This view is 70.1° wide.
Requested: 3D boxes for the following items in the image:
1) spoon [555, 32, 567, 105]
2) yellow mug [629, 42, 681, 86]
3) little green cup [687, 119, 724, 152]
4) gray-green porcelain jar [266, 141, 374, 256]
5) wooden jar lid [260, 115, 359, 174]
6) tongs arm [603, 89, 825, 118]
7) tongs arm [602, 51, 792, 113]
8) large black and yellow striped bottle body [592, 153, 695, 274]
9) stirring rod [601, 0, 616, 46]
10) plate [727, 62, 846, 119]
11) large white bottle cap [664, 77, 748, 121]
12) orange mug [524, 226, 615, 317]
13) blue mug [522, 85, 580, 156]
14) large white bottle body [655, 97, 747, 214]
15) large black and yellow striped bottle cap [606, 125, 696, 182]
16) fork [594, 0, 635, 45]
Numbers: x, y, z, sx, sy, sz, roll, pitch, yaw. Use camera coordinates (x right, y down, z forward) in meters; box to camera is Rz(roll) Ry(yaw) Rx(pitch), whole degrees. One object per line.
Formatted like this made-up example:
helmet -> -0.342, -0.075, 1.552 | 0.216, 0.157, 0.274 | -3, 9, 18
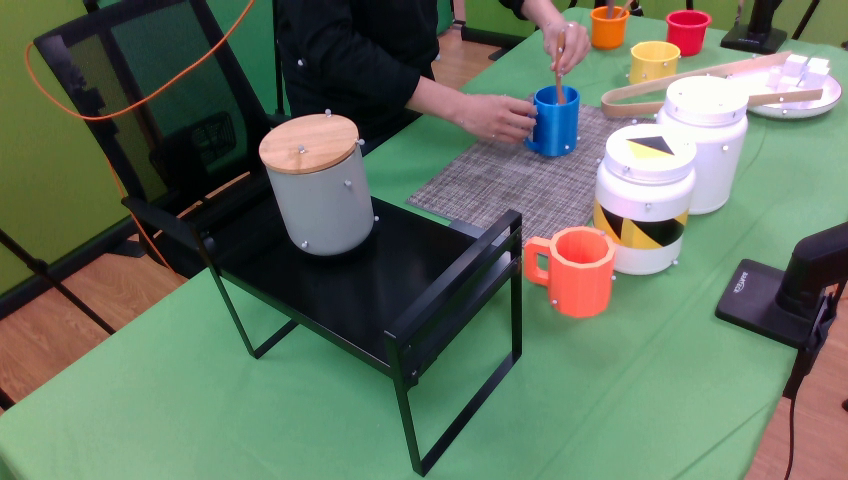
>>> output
spoon -> 0.246, -0.282, 1.091 | 0.042, 0.195, 0.021 | -40, 45, -26
yellow mug -> 0.495, -0.389, 1.321 | 0.100, 0.064, 0.130 | -14, 40, -6
little green cup -> 0.514, -0.191, 1.109 | 0.061, 0.039, 0.061 | -5, 40, 5
gray-green porcelain jar -> -0.117, -0.054, 0.703 | 0.106, 0.127, 0.105 | -4, 40, 4
wooden jar lid -> -0.124, -0.101, 0.662 | 0.108, 0.021, 0.108 | -4, 41, 4
tongs arm -> 0.546, -0.262, 1.163 | 0.386, 0.028, 0.028 | -1, 49, 18
tongs arm -> 0.552, -0.320, 1.224 | 0.384, 0.027, 0.050 | -10, 43, 7
large black and yellow striped bottle body -> 0.313, -0.056, 0.872 | 0.131, 0.185, 0.130 | -4, 41, 4
stirring rod -> 0.452, -0.554, 1.464 | 0.014, 0.006, 0.176 | 11, 86, 15
plate -> 0.709, -0.292, 1.197 | 0.207, 0.039, 0.206 | -4, 40, 4
large white bottle cap -> 0.421, -0.212, 0.905 | 0.115, 0.018, 0.114 | -4, 40, 4
orange mug -> 0.201, 0.039, 0.845 | 0.125, 0.101, 0.083 | 18, 46, 21
blue mug -> 0.233, -0.218, 1.127 | 0.117, 0.106, 0.081 | -23, 43, -16
large white bottle body -> 0.431, -0.148, 0.959 | 0.130, 0.185, 0.130 | -4, 41, 4
large black and yellow striped bottle cap -> 0.305, -0.119, 0.816 | 0.115, 0.019, 0.114 | -5, 41, 5
fork -> 0.484, -0.552, 1.447 | 0.207, 0.019, 0.028 | -51, 47, 17
